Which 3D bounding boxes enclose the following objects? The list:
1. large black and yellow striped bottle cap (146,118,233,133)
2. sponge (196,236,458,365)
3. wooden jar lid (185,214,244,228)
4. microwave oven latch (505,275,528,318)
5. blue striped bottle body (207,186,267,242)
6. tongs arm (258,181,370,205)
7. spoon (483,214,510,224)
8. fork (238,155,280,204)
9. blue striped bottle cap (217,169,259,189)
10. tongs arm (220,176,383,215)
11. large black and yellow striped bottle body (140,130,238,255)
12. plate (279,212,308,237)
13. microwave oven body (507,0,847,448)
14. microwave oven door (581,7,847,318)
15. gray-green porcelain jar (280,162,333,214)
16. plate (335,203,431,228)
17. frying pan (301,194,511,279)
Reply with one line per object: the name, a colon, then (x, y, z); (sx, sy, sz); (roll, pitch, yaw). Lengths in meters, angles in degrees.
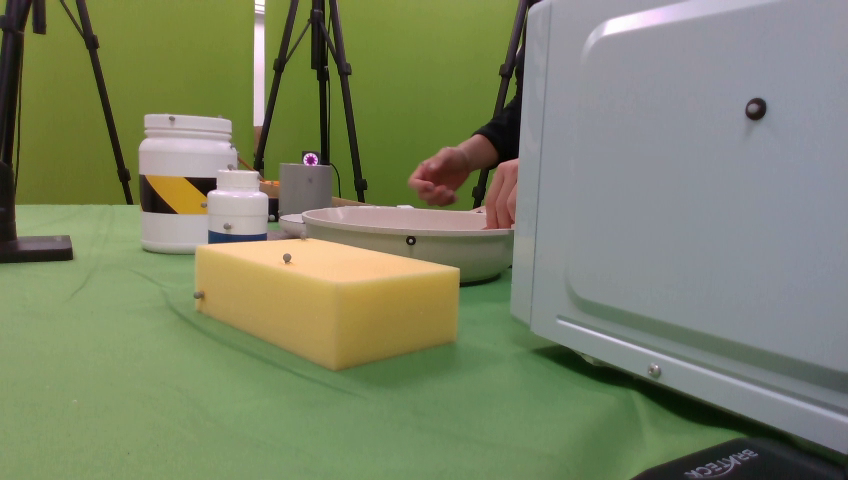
large black and yellow striped bottle cap: (-0.333, -0.163, 0.861); (0.115, 0.019, 0.115); (1, 9, 0)
sponge: (-0.087, 0.039, 0.500); (0.206, 0.061, 0.119); (8, 9, 44)
wooden jar lid: (-0.404, -0.037, 1.169); (0.108, 0.020, 0.108); (3, 7, 0)
microwave oven latch: (0.100, 0.042, 0.472); (0.079, 0.029, 0.030); (-2, 8, -30)
blue striped bottle body: (-0.204, -0.016, 0.663); (0.063, 0.120, 0.063); (2, 7, 0)
tongs arm: (-0.241, -0.095, 1.373); (0.387, 0.026, 0.050); (9, 0, -37)
spoon: (0.077, -0.014, 0.793); (0.193, 0.021, 0.042); (-24, -4, 11)
fork: (-0.396, -0.143, 1.486); (0.028, 0.018, 0.208); (20, -26, 45)
blue striped bottle cap: (-0.202, -0.067, 0.656); (0.044, 0.020, 0.044); (0, 10, 0)
tongs arm: (-0.285, -0.103, 1.445); (0.389, 0.027, 0.028); (9, -4, -23)
large black and yellow striped bottle body: (-0.336, -0.078, 0.872); (0.131, 0.184, 0.130); (2, 8, 0)
plate: (-0.139, -0.022, 1.021); (0.209, 0.038, 0.209); (2, 8, 0)
microwave oven body: (0.331, -0.042, 0.425); (0.444, 0.260, 0.324); (-2, 8, -31)
microwave oven door: (0.295, -0.067, 0.569); (0.358, 0.243, 0.039); (-3, 8, -31)
gray-green porcelain jar: (-0.238, -0.092, 1.221); (0.106, 0.126, 0.106); (2, 7, 0)
plate: (-0.089, -0.053, 1.309); (0.208, 0.039, 0.207); (2, 8, 0)
frying pan: (0.050, -0.028, 0.864); (0.305, 0.102, 0.490); (8, 18, 35)
